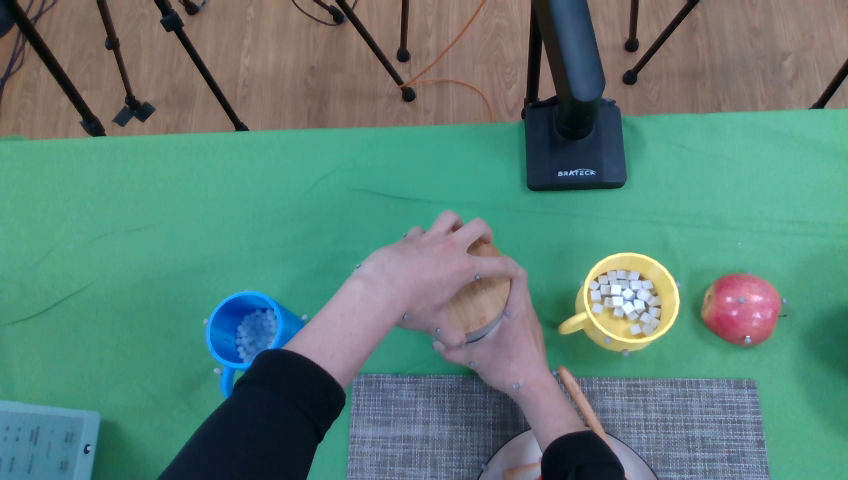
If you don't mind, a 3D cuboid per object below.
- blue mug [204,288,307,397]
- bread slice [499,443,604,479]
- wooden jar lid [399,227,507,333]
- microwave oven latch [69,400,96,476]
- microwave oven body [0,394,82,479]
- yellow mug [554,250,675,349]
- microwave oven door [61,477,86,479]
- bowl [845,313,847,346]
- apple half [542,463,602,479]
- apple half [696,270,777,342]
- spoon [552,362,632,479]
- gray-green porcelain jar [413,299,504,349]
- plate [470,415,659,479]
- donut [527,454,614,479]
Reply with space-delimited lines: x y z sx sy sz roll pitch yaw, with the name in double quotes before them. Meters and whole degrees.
"blue mug" -0.192 0.121 0.680 0.082 0.106 0.116 20 75 12
"bread slice" 0.149 0.287 0.625 0.107 0.018 0.133 -17 70 1
"wooden jar lid" 0.029 0.041 0.607 0.108 0.021 0.107 -2 71 7
"microwave oven latch" -0.396 0.223 0.683 0.030 0.030 0.078 5 73 7
"microwave oven body" -0.557 0.361 0.552 0.326 0.262 0.439 0 72 6
"yellow mug" 0.206 0.074 0.676 0.131 0.064 0.099 -23 71 -1
"microwave oven door" -0.413 0.399 0.520 0.039 0.245 0.353 -1 72 6
"bowl" 0.507 0.105 0.628 0.151 0.077 0.150 -2 72 6
"apple half" 0.140 0.253 0.568 0.081 0.033 0.080 -4 69 10
"apple half" 0.348 0.069 0.670 0.074 0.054 0.080 21 76 15
"spoon" 0.186 0.214 0.627 0.041 0.022 0.193 -27 80 -2
"gray-green porcelain jar" 0.035 0.061 0.665 0.106 0.127 0.105 -2 71 5
"plate" 0.144 0.288 0.623 0.207 0.039 0.206 -2 72 5
"donut" 0.146 0.264 0.601 0.099 0.048 0.098 -2 71 5
